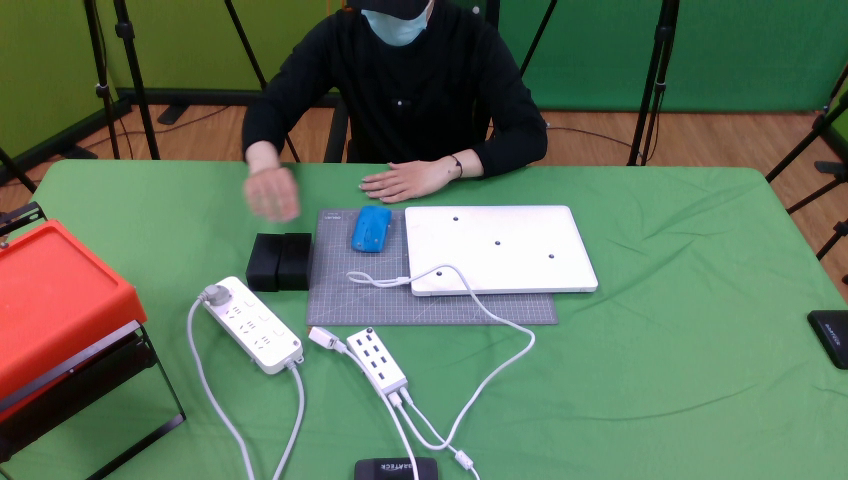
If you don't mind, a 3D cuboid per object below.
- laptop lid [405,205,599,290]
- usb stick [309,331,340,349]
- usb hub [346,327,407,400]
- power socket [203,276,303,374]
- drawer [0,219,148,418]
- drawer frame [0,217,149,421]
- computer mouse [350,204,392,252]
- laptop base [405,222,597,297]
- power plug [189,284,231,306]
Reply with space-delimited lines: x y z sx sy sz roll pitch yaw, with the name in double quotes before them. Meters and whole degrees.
"laptop lid" 0.143 0.008 1.189 0.357 0.013 0.240 0 44 -5
"usb stick" -0.172 0.166 1.021 0.059 0.021 0.027 8 1 26
"usb hub" -0.078 0.202 0.998 0.049 0.025 0.124 -23 53 -24
"power socket" -0.296 0.141 1.034 0.072 0.033 0.225 -35 58 -30
"drawer" -0.509 0.093 0.783 0.193 0.073 0.211 32 53 24
"drawer frame" -0.510 0.093 0.780 0.201 0.083 0.213 31 52 23
"computer mouse" -0.104 -0.027 1.202 0.063 0.041 0.116 11 51 4
"laptop base" 0.143 0.018 1.196 0.355 0.023 0.234 -1 43 -6
"power plug" -0.368 0.100 1.037 0.072 0.053 0.035 -24 54 -26
